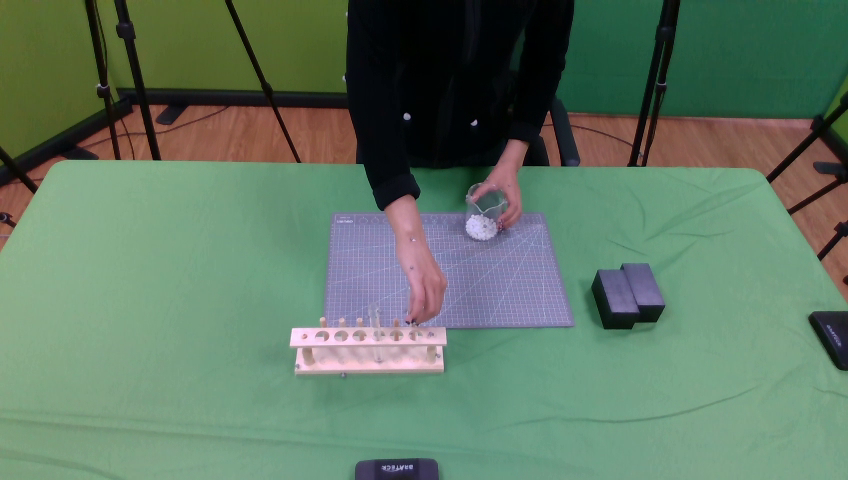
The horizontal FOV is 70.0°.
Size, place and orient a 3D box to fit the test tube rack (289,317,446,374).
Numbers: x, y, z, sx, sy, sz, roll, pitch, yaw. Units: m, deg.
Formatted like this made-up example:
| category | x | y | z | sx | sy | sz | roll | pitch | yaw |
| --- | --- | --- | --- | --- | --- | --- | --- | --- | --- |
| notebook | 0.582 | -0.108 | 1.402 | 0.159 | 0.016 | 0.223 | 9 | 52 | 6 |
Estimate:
| category | x | y | z | sx | sy | sz | roll | pitch | yaw |
| --- | --- | --- | --- | --- | --- | --- | --- | --- | --- |
| test tube rack | -0.089 | 0.167 | 0.987 | 0.242 | 0.085 | 0.066 | 0 | 46 | -4 |

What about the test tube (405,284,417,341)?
| category | x | y | z | sx | sy | sz | roll | pitch | yaw |
| --- | --- | --- | --- | --- | --- | --- | --- | --- | --- |
| test tube | -0.020 | 0.122 | 0.973 | 0.017 | 0.151 | 0.017 | -1 | 45 | 1 |

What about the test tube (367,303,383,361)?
| category | x | y | z | sx | sy | sz | roll | pitch | yaw |
| --- | --- | --- | --- | --- | --- | --- | --- | --- | --- |
| test tube | -0.075 | 0.146 | 0.941 | 0.017 | 0.151 | 0.017 | 0 | 49 | 0 |

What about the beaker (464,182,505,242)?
| category | x | y | z | sx | sy | sz | roll | pitch | yaw |
| --- | --- | --- | --- | --- | --- | --- | --- | --- | --- |
| beaker | 0.117 | -0.051 | 1.202 | 0.074 | 0.101 | 0.083 | 10 | 47 | 6 |
